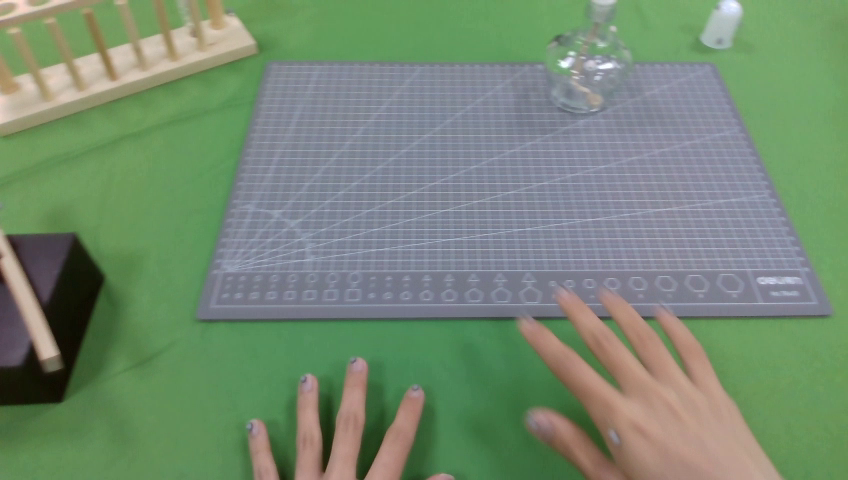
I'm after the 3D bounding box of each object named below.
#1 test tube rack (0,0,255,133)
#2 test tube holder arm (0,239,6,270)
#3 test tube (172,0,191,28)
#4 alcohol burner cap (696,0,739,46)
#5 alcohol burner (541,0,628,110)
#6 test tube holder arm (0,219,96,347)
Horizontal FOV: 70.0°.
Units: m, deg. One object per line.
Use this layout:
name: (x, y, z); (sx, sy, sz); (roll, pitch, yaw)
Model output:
test tube rack: (-0.291, -0.191, 0.561); (0.242, 0.086, 0.066); (-26, 56, -19)
test tube holder arm: (-0.294, -0.011, 0.402); (0.010, 0.015, 0.087); (-38, 60, -23)
test tube: (-0.240, -0.265, 0.556); (0.017, 0.151, 0.017); (-1, 49, 2)
alcohol burner cap: (0.305, -0.228, 0.624); (0.034, 0.048, 0.033); (0, 52, 1)
alcohol burner: (0.144, -0.176, 0.532); (0.078, 0.120, 0.077); (1, 50, -1)
test tube holder arm: (-0.258, 0.010, 0.385); (0.177, 0.015, 0.013); (35, 62, 25)
